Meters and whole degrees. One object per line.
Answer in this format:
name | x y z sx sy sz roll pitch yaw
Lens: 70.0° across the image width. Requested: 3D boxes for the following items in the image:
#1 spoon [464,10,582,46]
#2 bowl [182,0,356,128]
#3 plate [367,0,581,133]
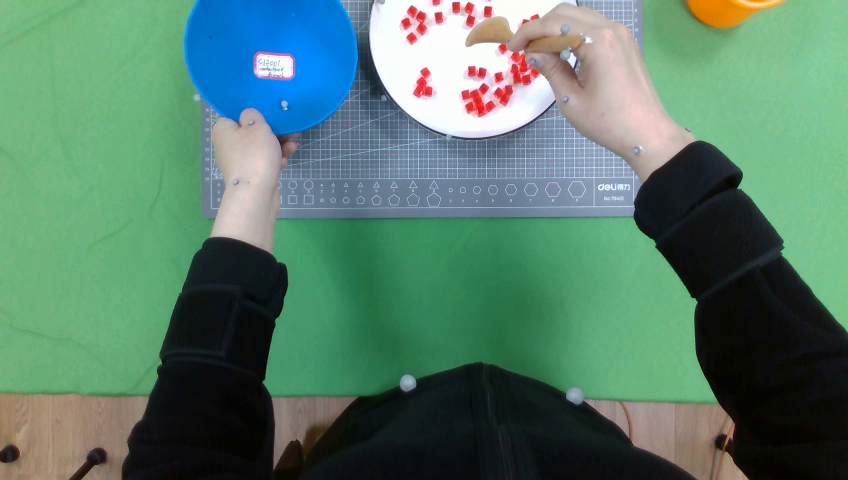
spoon | 0.074 -0.162 0.471 0.041 0.192 0.022 -34 119 -2
bowl | -0.141 -0.176 0.571 0.152 0.076 0.151 0 93 -9
plate | 0.049 -0.208 0.600 0.209 0.038 0.209 0 90 0
